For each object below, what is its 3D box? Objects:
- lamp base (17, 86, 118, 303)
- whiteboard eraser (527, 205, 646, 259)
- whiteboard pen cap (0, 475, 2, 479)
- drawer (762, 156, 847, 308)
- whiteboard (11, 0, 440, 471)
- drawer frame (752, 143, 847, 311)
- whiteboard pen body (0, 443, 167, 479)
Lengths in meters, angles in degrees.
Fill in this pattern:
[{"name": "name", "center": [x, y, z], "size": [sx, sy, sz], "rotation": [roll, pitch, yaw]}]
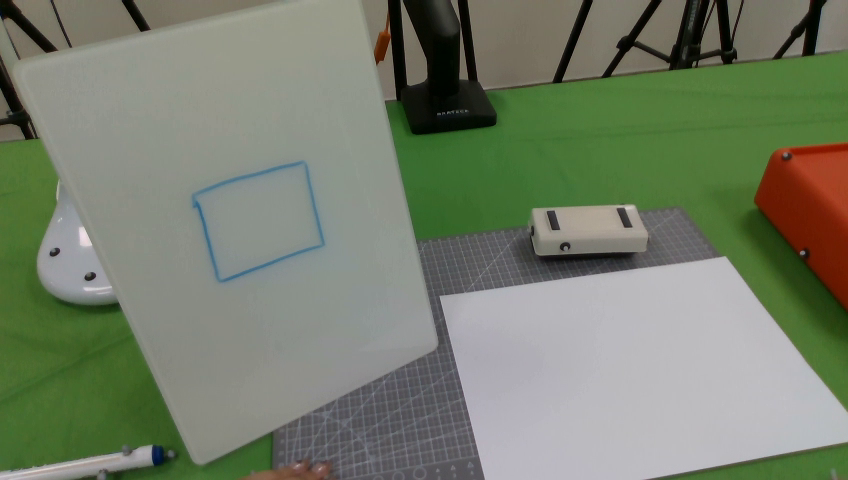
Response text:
[{"name": "lamp base", "center": [-0.330, -0.056, 0.592], "size": [0.178, 0.182, 0.160], "rotation": [20, 45, 26]}, {"name": "whiteboard eraser", "center": [0.166, -0.007, 0.625], "size": [0.113, 0.042, 0.055], "rotation": [-3, 40, -1]}, {"name": "whiteboard pen cap", "center": [-0.324, 0.178, 0.437], "size": [0.033, 0.018, 0.018], "rotation": [-5, 40, -14]}, {"name": "drawer", "center": [0.478, -0.004, 0.588], "size": [0.195, 0.074, 0.209], "rotation": [-6, 40, -4]}, {"name": "whiteboard", "center": [-0.139, -0.018, 0.492], "size": [0.217, 0.307, 0.142], "rotation": [-22, 26, -21]}, {"name": "drawer frame", "center": [0.477, -0.009, 0.592], "size": [0.202, 0.083, 0.211], "rotation": [-7, 41, -5]}, {"name": "whiteboard pen body", "center": [-0.266, 0.171, 0.449], "size": [0.141, 0.017, 0.017], "rotation": [-7, 41, -12]}]
